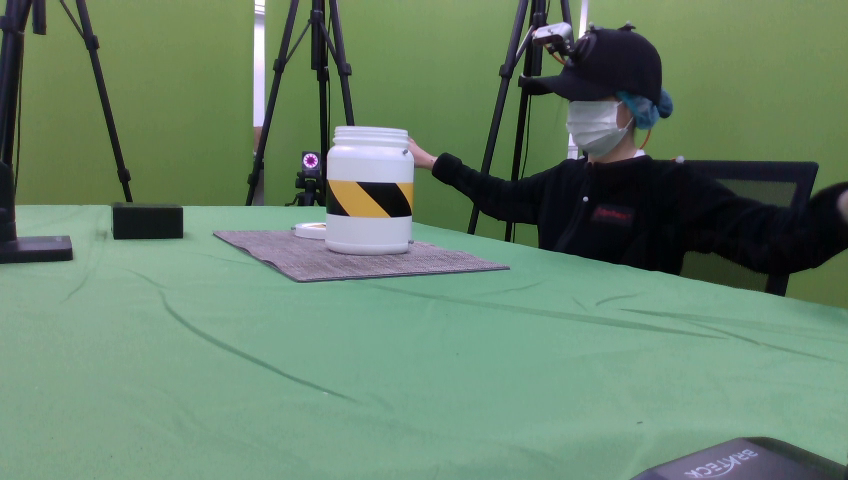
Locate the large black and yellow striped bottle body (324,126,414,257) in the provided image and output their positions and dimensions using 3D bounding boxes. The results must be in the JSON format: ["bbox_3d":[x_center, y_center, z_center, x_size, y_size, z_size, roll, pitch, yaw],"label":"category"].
[{"bbox_3d":[-0.082,-0.074,0.904,0.131,0.184,0.130,3,7,0],"label":"large black and yellow striped bottle body"}]

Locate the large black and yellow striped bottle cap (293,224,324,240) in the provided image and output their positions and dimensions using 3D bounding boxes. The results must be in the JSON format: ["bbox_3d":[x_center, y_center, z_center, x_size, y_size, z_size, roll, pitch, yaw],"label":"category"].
[{"bbox_3d":[-0.173,-0.015,1.071,0.115,0.019,0.115,2,7,0],"label":"large black and yellow striped bottle cap"}]
